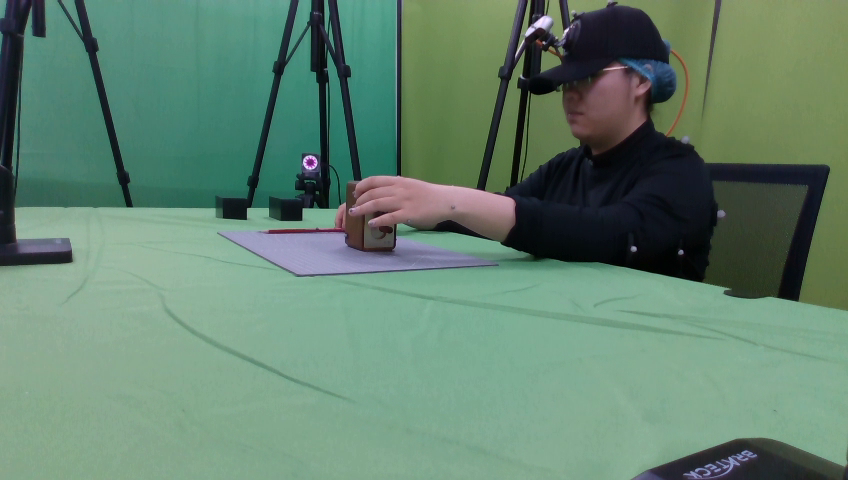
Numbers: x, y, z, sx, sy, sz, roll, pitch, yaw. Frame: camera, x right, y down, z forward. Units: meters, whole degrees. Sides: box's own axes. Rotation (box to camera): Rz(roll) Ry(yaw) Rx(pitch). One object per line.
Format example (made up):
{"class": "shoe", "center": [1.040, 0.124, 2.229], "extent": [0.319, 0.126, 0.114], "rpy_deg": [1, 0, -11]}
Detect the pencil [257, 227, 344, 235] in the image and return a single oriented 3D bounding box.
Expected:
{"class": "pencil", "center": [-0.213, -0.017, 1.133], "extent": [0.195, 0.012, 0.012], "rpy_deg": [-3, 9, -24]}

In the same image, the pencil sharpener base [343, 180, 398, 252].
{"class": "pencil sharpener base", "center": [-0.085, -0.039, 0.957], "extent": [0.062, 0.107, 0.076], "rpy_deg": [-1, 9, -31]}

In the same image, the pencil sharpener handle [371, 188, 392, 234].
{"class": "pencil sharpener handle", "center": [-0.058, -0.044, 0.913], "extent": [0.036, 0.067, 0.030], "rpy_deg": [-2, 9, -31]}
